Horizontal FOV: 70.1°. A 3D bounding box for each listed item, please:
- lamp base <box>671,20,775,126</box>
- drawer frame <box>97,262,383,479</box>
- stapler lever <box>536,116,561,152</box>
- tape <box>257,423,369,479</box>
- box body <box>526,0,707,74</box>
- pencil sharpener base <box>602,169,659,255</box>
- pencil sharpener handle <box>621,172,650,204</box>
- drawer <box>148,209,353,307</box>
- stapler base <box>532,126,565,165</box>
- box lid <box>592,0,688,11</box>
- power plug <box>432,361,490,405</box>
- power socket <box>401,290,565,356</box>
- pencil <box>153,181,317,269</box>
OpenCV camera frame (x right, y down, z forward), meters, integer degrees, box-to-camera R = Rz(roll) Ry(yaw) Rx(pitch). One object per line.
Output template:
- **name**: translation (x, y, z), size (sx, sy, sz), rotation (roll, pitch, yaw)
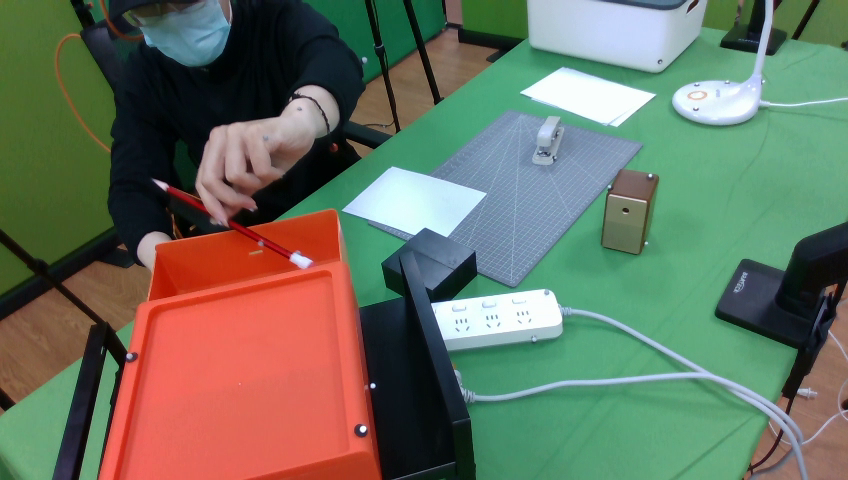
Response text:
- **lamp base**: translation (0.582, -0.332, 1.153), size (0.179, 0.181, 0.160), rotation (2, 41, 7)
- **drawer frame**: translation (-0.148, 0.130, 0.519), size (0.202, 0.083, 0.212), rotation (-11, 41, -6)
- **stapler lever**: translation (0.236, -0.208, 1.140), size (0.026, 0.040, 0.118), rotation (10, 43, 18)
- **tape**: translation (-0.120, 0.262, 0.659), size (0.117, 0.053, 0.116), rotation (-4, 40, 4)
- **box body**: translation (0.450, -0.540, 1.430), size (0.361, 0.161, 0.255), rotation (24, 50, 31)
- **pencil sharpener base**: translation (0.312, -0.044, 0.913), size (0.061, 0.107, 0.077), rotation (14, 45, 24)
- **pencil sharpener handle**: translation (0.328, -0.086, 0.940), size (0.036, 0.068, 0.030), rotation (30, 49, 8)
- **drawer**: translation (-0.167, 0.074, 0.590), size (0.195, 0.073, 0.210), rotation (-11, 41, -5)
- **stapler base**: translation (0.238, -0.189, 1.155), size (0.041, 0.024, 0.130), rotation (10, 42, 18)
- **box lid**: translation (0.441, -0.596, 1.383), size (0.368, 0.015, 0.264), rotation (24, 49, 31)
- **power plug**: translation (0.044, 0.182, 0.759), size (0.073, 0.035, 0.052), rotation (25, 41, -20)
- **power socket**: translation (0.080, 0.112, 0.821), size (0.227, 0.033, 0.072), rotation (-6, 41, 0)
- **pencil**: translation (-0.191, -0.015, 0.609), size (0.194, 0.012, 0.012), rotation (28, 48, 5)
